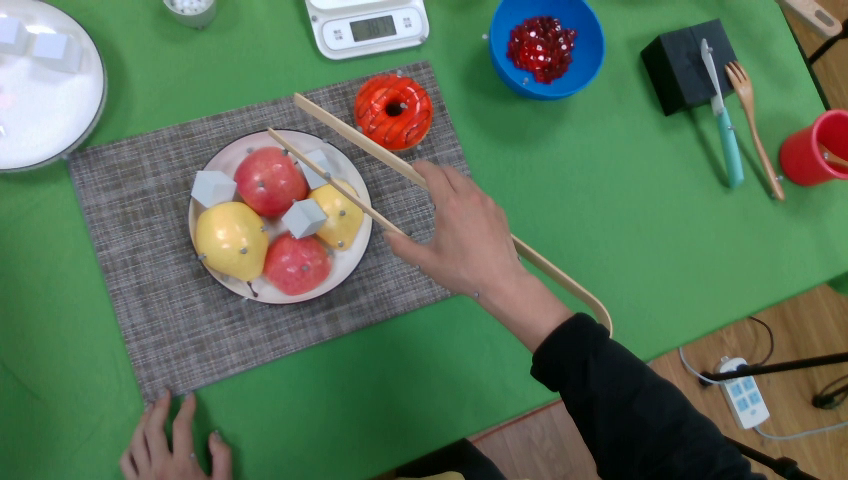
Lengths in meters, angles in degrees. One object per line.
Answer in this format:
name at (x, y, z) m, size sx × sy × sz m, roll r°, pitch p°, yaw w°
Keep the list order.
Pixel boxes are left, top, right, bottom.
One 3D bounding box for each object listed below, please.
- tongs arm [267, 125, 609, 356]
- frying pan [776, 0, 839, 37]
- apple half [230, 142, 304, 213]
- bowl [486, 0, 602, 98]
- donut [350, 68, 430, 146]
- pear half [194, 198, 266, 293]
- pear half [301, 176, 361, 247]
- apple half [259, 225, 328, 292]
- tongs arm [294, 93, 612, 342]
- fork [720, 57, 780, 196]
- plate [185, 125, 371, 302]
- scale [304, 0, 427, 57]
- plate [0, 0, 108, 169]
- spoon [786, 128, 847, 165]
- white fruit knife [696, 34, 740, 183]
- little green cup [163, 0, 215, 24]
tongs arm at (0.014, -0.003, 0.588) m, size 0.385 × 0.026 × 0.050 m, roll 39°, pitch 74°, yaw 0°
frying pan at (0.376, -0.444, 0.845) m, size 0.486 × 0.103 × 0.306 m, roll 43°, pitch 78°, yaw 6°
apple half at (-0.182, -0.073, 0.697) m, size 0.074 × 0.053 × 0.081 m, roll -31°, pitch 91°, yaw -11°
bowl at (0.144, -0.248, 0.786) m, size 0.152 × 0.077 × 0.151 m, roll 2°, pitch 82°, yaw -10°
donut at (-0.042, -0.165, 0.752) m, size 0.099 × 0.048 × 0.099 m, roll 1°, pitch 83°, yaw -8°
pear half at (-0.209, 0.007, 0.676) m, size 0.076 × 0.056 × 0.110 m, roll -26°, pitch 90°, yaw -21°
pear half at (-0.112, -0.036, 0.716) m, size 0.070 × 0.031 × 0.087 m, roll -17°, pitch 82°, yaw 0°
apple half at (-0.153, 0.020, 0.697) m, size 0.081 × 0.033 × 0.081 m, roll 2°, pitch 75°, yaw -8°
tongs arm at (0.029, -0.024, 0.595) m, size 0.387 × 0.028 × 0.028 m, roll 36°, pitch 71°, yaw -1°
fork at (0.454, -0.155, 0.837) m, size 0.028 × 0.018 × 0.208 m, roll -29°, pitch 103°, yaw -15°
plate at (-0.167, -0.030, 0.711) m, size 0.210 × 0.038 × 0.208 m, roll 2°, pitch 81°, yaw -11°
scale at (-0.087, -0.344, 0.781) m, size 0.149 × 0.031 × 0.200 m, roll -14°, pitch 85°, yaw -12°
plate at (-0.465, -0.177, 0.682) m, size 0.208 × 0.039 × 0.207 m, roll 2°, pitch 81°, yaw -10°
spoon at (0.570, -0.100, 0.810) m, size 0.041 × 0.022 × 0.191 m, roll -24°, pitch 42°, yaw -14°
white fruit knife at (0.397, -0.176, 0.822) m, size 0.016 × 0.027 × 0.208 m, roll -21°, pitch 100°, yaw -13°
little green cup at (-0.284, -0.294, 0.733) m, size 0.062 × 0.038 × 0.061 m, roll 2°, pitch 81°, yaw -10°
